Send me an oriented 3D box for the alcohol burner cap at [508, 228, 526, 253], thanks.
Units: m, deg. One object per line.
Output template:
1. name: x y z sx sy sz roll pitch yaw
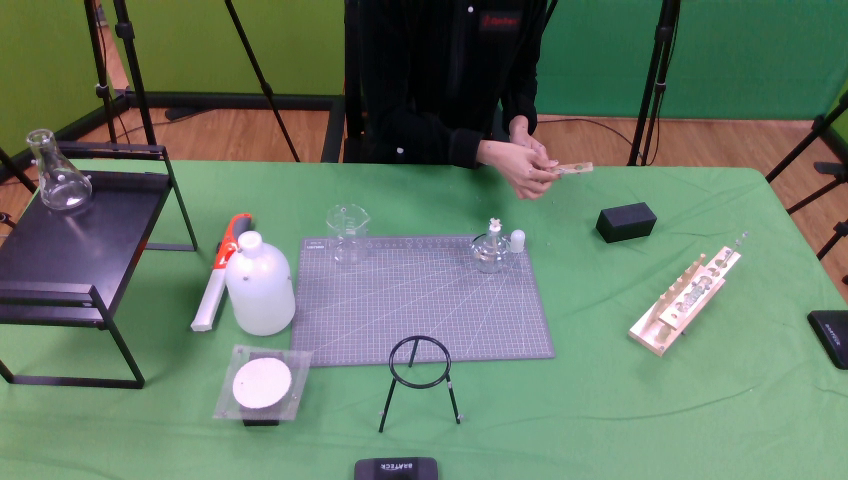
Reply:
1. alcohol burner cap: 0.185 -0.002 1.192 0.034 0.048 0.033 3 45 -3

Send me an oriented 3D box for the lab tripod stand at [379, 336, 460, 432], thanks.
1. lab tripod stand: -0.011 0.214 0.911 0.148 0.132 0.147 1 45 0

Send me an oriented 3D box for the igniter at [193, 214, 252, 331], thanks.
1. igniter: -0.368 0.050 1.119 0.057 0.025 0.275 -3 46 8

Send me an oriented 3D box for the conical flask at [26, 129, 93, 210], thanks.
1. conical flask: -0.575 -0.113 0.946 0.075 0.122 0.075 2 46 -2

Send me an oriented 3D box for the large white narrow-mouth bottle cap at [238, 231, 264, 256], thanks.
1. large white narrow-mouth bottle cap: -0.266 0.006 0.932 0.038 0.024 0.037 2 46 -2

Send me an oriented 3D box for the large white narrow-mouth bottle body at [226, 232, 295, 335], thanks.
1. large white narrow-mouth bottle body: -0.270 0.065 0.995 0.102 0.195 0.101 2 46 -2

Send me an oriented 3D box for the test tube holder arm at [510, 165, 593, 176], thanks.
1. test tube holder arm: 0.238 -0.131 1.147 0.178 0.013 0.015 -1 9 45

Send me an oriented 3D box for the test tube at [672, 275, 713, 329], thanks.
1. test tube: 0.438 0.106 1.007 0.017 0.151 0.017 4 51 -4

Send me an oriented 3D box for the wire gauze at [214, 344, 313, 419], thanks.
1. wire gauze: -0.241 0.213 0.915 0.121 0.011 0.124 5 46 1

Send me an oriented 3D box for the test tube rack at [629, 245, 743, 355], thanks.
1. test tube rack: 0.474 0.095 1.091 0.242 0.085 0.066 -34 56 -31

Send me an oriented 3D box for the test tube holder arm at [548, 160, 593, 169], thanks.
1. test tube holder arm: 0.269 -0.137 1.114 0.087 0.010 0.015 0 9 45

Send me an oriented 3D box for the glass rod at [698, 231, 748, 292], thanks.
1. glass rod: 0.514 0.044 1.051 0.008 0.200 0.008 1 55 -1

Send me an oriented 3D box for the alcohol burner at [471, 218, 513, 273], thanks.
1. alcohol burner: 0.128 0.005 1.132 0.078 0.120 0.077 0 47 0

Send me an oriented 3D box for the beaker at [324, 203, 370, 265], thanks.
1. beaker: -0.142 -0.009 1.137 0.084 0.101 0.073 -3 47 -7
